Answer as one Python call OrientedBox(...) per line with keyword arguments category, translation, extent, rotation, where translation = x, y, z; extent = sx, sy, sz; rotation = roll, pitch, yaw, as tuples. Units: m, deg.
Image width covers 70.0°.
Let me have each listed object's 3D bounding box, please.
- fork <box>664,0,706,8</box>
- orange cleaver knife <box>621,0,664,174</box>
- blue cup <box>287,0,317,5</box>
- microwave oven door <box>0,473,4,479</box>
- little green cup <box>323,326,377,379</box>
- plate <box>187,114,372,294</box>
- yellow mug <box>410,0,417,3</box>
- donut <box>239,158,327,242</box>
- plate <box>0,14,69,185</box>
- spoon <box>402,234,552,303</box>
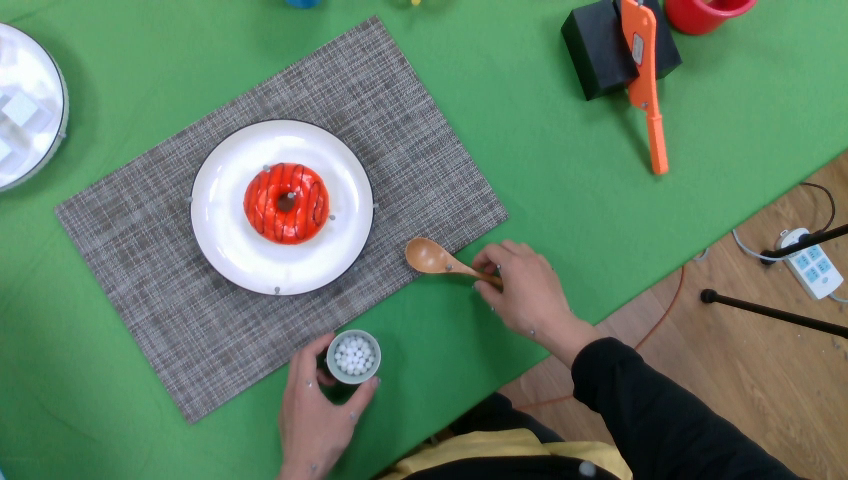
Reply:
OrientedBox(category="fork", translation=(0.391, -0.314, 0.711), extent=(0.206, 0.019, 0.028), rotation=(-7, 83, 38))
OrientedBox(category="orange cleaver knife", translation=(0.260, -0.184, 0.725), extent=(0.012, 0.076, 0.213), rotation=(-18, 116, -3))
OrientedBox(category="blue cup", translation=(-0.148, -0.323, 0.701), extent=(0.093, 0.100, 0.092), rotation=(0, 86, -5))
OrientedBox(category="microwave oven door", translation=(-0.479, 0.246, 0.550), extent=(0.039, 0.244, 0.355), rotation=(-30, 88, -5))
OrientedBox(category="little green cup", translation=(-0.083, 0.130, 0.702), extent=(0.061, 0.039, 0.061), rotation=(0, 83, 0))
OrientedBox(category="plate", translation=(-0.165, -0.041, 0.707), extent=(0.209, 0.038, 0.208), rotation=(0, 86, -3))
OrientedBox(category="yellow mug", translation=(0.003, -0.350, 0.729), extent=(0.100, 0.064, 0.130), rotation=(15, 86, -2))
OrientedBox(category="donut", translation=(-0.161, -0.046, 0.696), extent=(0.099, 0.048, 0.099), rotation=(0, 88, -2))
OrientedBox(category="plate", translation=(-0.513, -0.158, 0.698), extent=(0.208, 0.039, 0.207), rotation=(0, 86, -3))
OrientedBox(category="spoon", translation=(0.064, 0.040, 0.724), extent=(0.194, 0.022, 0.041), rotation=(20, 70, -3))
